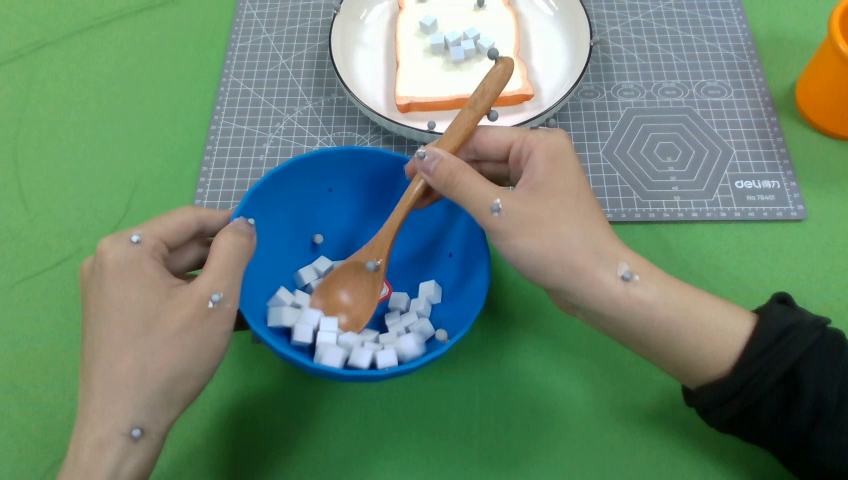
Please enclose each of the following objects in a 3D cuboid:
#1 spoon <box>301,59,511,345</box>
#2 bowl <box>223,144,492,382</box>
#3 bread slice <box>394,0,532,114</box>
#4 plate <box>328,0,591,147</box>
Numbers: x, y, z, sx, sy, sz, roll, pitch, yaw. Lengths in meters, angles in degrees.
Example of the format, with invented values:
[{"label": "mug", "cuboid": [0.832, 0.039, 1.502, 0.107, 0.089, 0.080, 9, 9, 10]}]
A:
[{"label": "spoon", "cuboid": [-0.010, -0.020, 0.344, 0.041, 0.022, 0.194, 40, 103, 24]}, {"label": "bowl", "cuboid": [-0.041, 0.024, 0.372, 0.152, 0.077, 0.150, 6, 58, -9]}, {"label": "bread slice", "cuboid": [0.024, -0.161, 0.501, 0.107, 0.018, 0.133, -7, 64, 0]}, {"label": "plate", "cuboid": [0.027, -0.158, 0.496, 0.209, 0.038, 0.207, -1, 63, 3]}]
